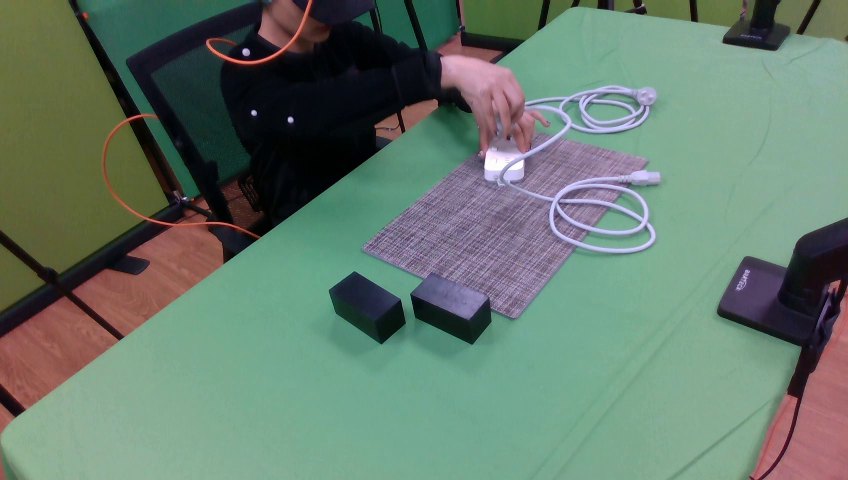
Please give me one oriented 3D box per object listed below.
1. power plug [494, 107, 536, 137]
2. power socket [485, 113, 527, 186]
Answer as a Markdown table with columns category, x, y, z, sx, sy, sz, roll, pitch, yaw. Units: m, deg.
| category | x | y | z | sx | sy | sz | roll | pitch | yaw |
| --- | --- | --- | --- | --- | --- | --- | --- | --- | --- |
| power plug | 0.153 | -0.195 | 1.018 | 0.072 | 0.053 | 0.035 | 7 | 58 | 27 |
| power socket | 0.158 | -0.181 | 1.152 | 0.072 | 0.033 | 0.226 | 1 | 41 | 11 |
